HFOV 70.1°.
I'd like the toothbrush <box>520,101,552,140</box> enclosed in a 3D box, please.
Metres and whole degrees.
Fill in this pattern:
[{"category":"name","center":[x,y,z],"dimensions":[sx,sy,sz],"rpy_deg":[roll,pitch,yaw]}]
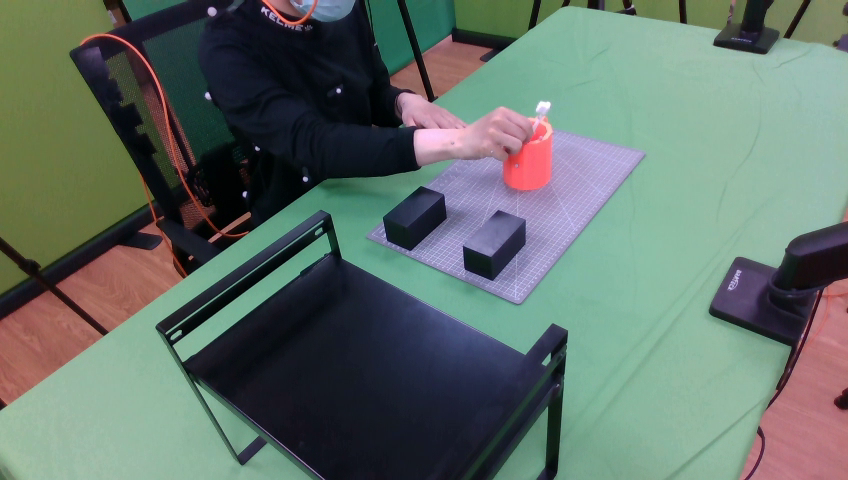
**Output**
[{"category":"toothbrush","center":[0.169,-0.174,1.006],"dimensions":[0.017,0.182,0.014],"rpy_deg":[-8,70,-16]}]

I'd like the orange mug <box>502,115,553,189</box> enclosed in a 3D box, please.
[{"category":"orange mug","center":[0.190,-0.164,1.070],"dimensions":[0.083,0.101,0.126],"rpy_deg":[15,50,25]}]
